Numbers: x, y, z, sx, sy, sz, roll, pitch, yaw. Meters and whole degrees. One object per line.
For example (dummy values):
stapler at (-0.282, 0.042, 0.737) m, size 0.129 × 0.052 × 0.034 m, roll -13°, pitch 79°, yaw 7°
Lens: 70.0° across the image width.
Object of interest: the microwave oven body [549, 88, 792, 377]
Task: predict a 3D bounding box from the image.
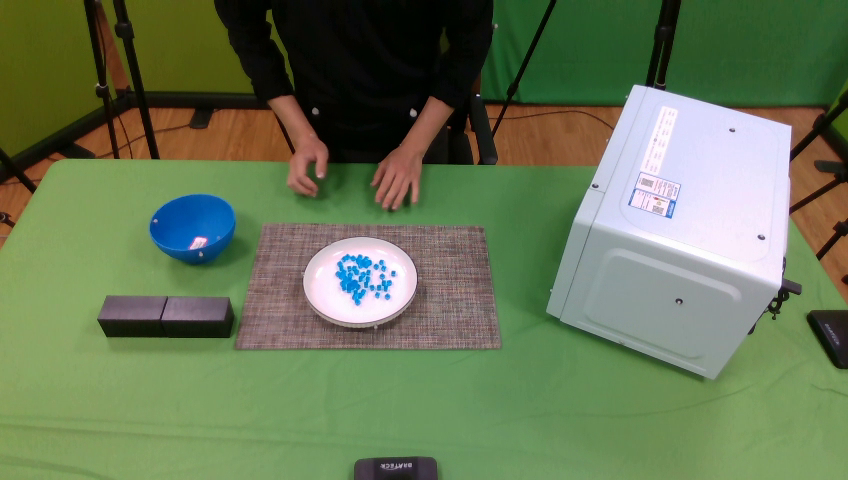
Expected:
microwave oven body at (0.456, -0.028, 1.088) m, size 0.325 × 0.261 × 0.440 m, roll 20°, pitch 47°, yaw 16°

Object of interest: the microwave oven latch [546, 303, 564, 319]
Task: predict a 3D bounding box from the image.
microwave oven latch at (0.242, 0.102, 1.081) m, size 0.030 × 0.029 × 0.079 m, roll 22°, pitch 48°, yaw 17°

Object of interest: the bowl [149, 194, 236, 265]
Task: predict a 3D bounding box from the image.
bowl at (-0.425, -0.009, 1.134) m, size 0.151 × 0.077 × 0.150 m, roll 2°, pitch 46°, yaw -2°

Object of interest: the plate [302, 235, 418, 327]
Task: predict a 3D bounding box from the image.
plate at (-0.114, 0.077, 1.098) m, size 0.208 × 0.039 × 0.206 m, roll 2°, pitch 46°, yaw -2°

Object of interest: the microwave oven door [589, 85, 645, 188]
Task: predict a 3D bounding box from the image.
microwave oven door at (0.342, -0.107, 1.149) m, size 0.039 × 0.245 × 0.354 m, roll 20°, pitch 48°, yaw 15°
